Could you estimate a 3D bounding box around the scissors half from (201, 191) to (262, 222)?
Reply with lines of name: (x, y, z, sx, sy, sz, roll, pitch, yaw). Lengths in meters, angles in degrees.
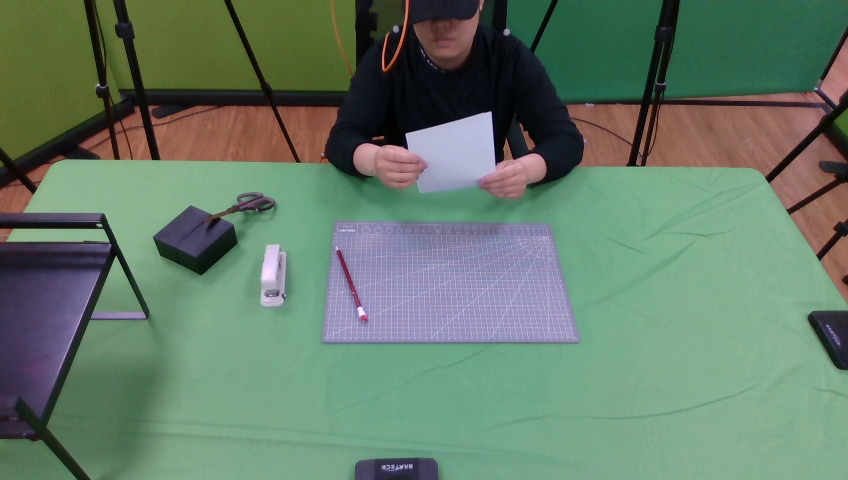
scissors half: (-0.381, -0.066, 1.198, 0.040, 0.013, 0.175, 24, 28, 10)

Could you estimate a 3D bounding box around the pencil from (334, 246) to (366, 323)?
pencil: (-0.140, 0.076, 1.116, 0.012, 0.012, 0.192, -14, 48, -17)

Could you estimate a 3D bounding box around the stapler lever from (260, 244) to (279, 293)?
stapler lever: (-0.279, 0.045, 1.096, 0.027, 0.040, 0.117, -2, 44, -9)

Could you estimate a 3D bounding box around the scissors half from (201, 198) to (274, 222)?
scissors half: (-0.364, -0.056, 1.192, 0.040, 0.013, 0.175, 38, 32, 22)

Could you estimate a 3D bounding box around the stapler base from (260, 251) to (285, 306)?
stapler base: (-0.279, 0.064, 1.113, 0.041, 0.024, 0.129, -2, 44, -9)
